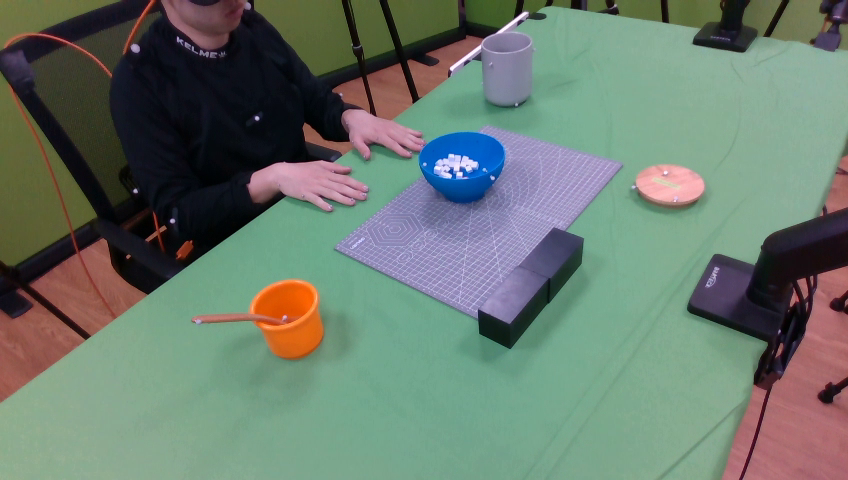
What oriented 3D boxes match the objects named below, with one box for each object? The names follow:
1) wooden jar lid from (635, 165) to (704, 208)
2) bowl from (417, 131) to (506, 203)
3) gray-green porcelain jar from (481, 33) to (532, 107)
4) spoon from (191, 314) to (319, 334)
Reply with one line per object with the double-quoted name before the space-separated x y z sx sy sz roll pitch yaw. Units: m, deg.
"wooden jar lid" 0.410 -0.089 1.014 0.108 0.021 0.108 -5 42 5
"bowl" 0.067 -0.116 1.048 0.151 0.077 0.150 -4 40 4
"gray-green porcelain jar" 0.175 -0.355 1.278 0.106 0.127 0.105 -4 41 4
"spoon" -0.212 0.105 0.780 0.041 0.195 0.021 29 97 37
